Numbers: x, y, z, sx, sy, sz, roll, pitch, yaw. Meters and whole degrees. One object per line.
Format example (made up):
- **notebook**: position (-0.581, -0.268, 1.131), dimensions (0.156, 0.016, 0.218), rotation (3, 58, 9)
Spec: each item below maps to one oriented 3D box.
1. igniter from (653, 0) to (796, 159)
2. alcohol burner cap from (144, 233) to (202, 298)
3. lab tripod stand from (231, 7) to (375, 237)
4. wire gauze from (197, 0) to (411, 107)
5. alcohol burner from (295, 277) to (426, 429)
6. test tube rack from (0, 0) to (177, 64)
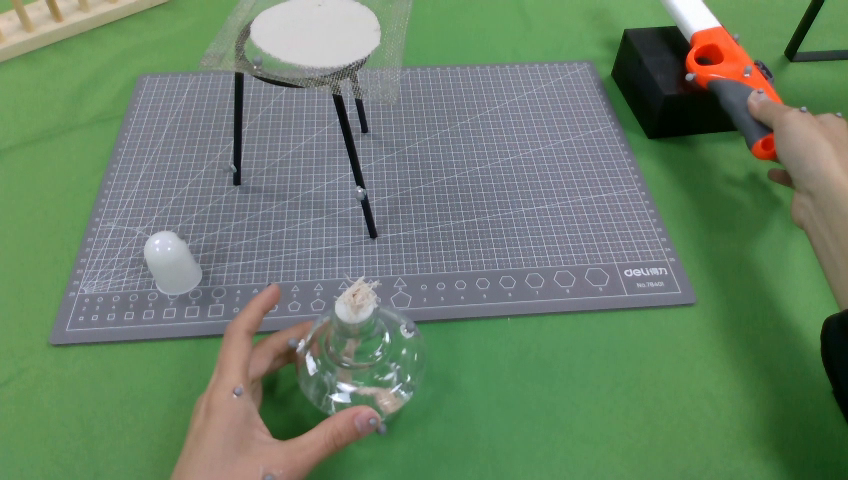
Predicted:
- **igniter**: position (0.249, -0.172, 0.535), dimensions (0.057, 0.025, 0.273), rotation (-13, 52, 4)
- **alcohol burner cap**: position (-0.178, 0.015, 0.423), dimensions (0.034, 0.048, 0.033), rotation (2, 50, -2)
- **lab tripod stand**: position (-0.080, -0.089, 0.452), dimensions (0.148, 0.132, 0.147), rotation (2, 51, -3)
- **wire gauze**: position (-0.073, -0.137, 0.405), dimensions (0.125, 0.011, 0.120), rotation (7, 51, 1)
- **alcohol burner**: position (-0.038, 0.061, 0.349), dimensions (0.078, 0.120, 0.077), rotation (0, 51, 0)
- **test tube rack**: position (-0.379, -0.260, 0.615), dimensions (0.242, 0.086, 0.066), rotation (-34, 60, -26)
